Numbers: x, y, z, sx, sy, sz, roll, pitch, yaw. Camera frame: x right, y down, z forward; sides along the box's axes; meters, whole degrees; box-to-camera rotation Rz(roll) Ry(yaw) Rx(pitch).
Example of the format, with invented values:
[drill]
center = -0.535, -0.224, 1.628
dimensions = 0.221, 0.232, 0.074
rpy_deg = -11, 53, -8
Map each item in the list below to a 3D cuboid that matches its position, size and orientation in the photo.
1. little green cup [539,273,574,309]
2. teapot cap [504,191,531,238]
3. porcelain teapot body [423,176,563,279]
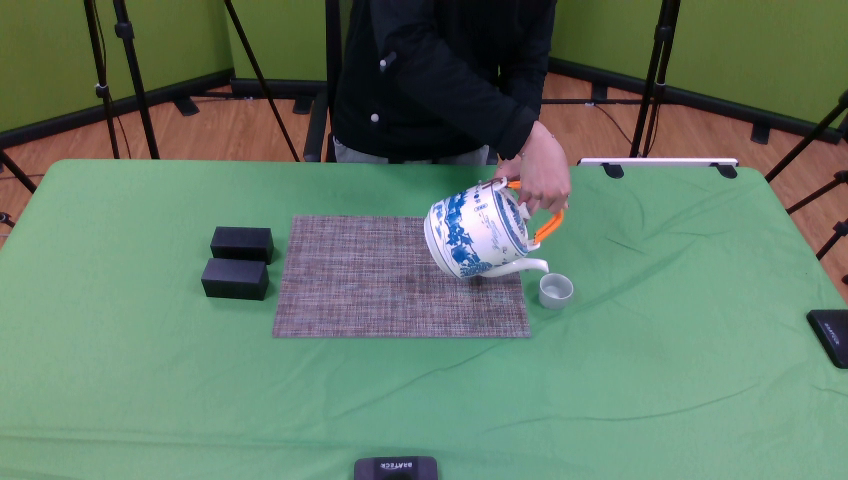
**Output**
[little green cup]
center = 0.241, 0.096, 1.113
dimensions = 0.061, 0.039, 0.061
rpy_deg = 3, 47, -3
[teapot cap]
center = 0.157, -0.045, 1.016
dimensions = 0.044, 0.085, 0.084
rpy_deg = -19, 43, 19
[porcelain teapot body]
center = 0.137, -0.009, 1.046
dimensions = 0.225, 0.206, 0.144
rpy_deg = -22, 30, 20
